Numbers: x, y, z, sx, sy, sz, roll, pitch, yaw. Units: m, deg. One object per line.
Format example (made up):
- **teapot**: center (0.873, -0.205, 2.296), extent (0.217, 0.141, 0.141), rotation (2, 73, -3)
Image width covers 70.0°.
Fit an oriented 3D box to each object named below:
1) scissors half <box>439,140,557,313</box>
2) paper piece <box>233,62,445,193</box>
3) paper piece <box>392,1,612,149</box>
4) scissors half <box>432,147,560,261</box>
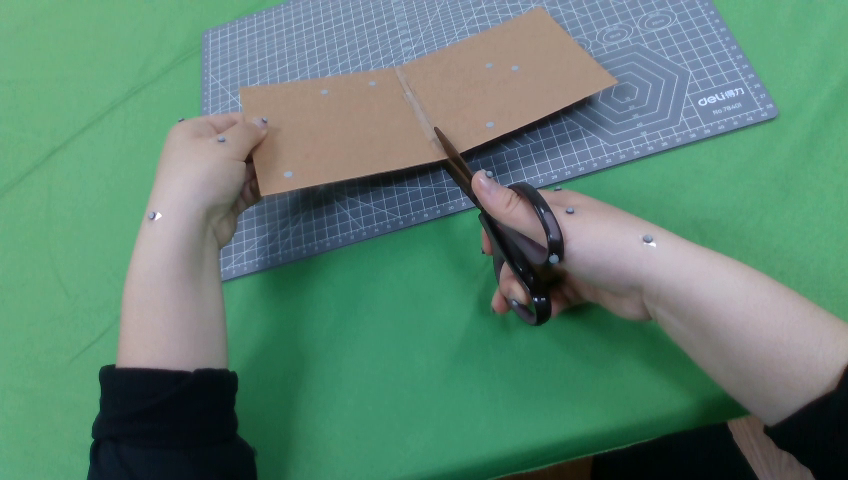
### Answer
- **scissors half**: center (0.039, -0.021, 0.405), extent (0.013, 0.040, 0.173), rotation (-21, 56, -12)
- **paper piece**: center (-0.070, -0.094, 0.463), extent (0.138, 0.009, 0.134), rotation (-14, 44, -11)
- **paper piece**: center (0.054, -0.137, 0.479), extent (0.135, 0.004, 0.134), rotation (-23, 49, -1)
- **scissors half**: center (0.037, -0.037, 0.390), extent (0.013, 0.040, 0.173), rotation (-17, 30, -15)
